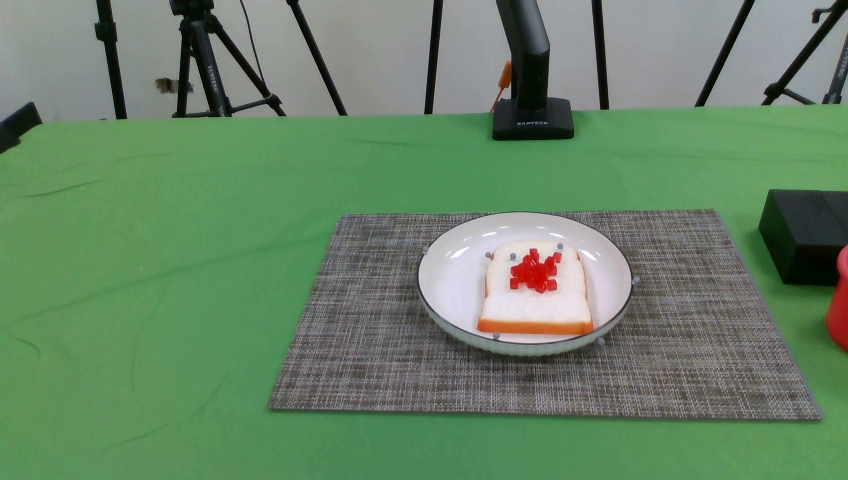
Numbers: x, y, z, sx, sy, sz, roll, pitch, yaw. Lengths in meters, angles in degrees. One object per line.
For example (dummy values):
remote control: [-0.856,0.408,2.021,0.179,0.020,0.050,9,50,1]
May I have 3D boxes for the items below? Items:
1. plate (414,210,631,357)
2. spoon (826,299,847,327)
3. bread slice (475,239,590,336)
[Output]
plate: [0.094,0.042,0.602,0.209,0.038,0.207,-3,36,3]
spoon: [0.430,0.034,0.486,0.022,0.194,0.041,49,44,-6]
bread slice: [0.107,0.043,0.602,0.105,0.019,0.130,1,37,8]
